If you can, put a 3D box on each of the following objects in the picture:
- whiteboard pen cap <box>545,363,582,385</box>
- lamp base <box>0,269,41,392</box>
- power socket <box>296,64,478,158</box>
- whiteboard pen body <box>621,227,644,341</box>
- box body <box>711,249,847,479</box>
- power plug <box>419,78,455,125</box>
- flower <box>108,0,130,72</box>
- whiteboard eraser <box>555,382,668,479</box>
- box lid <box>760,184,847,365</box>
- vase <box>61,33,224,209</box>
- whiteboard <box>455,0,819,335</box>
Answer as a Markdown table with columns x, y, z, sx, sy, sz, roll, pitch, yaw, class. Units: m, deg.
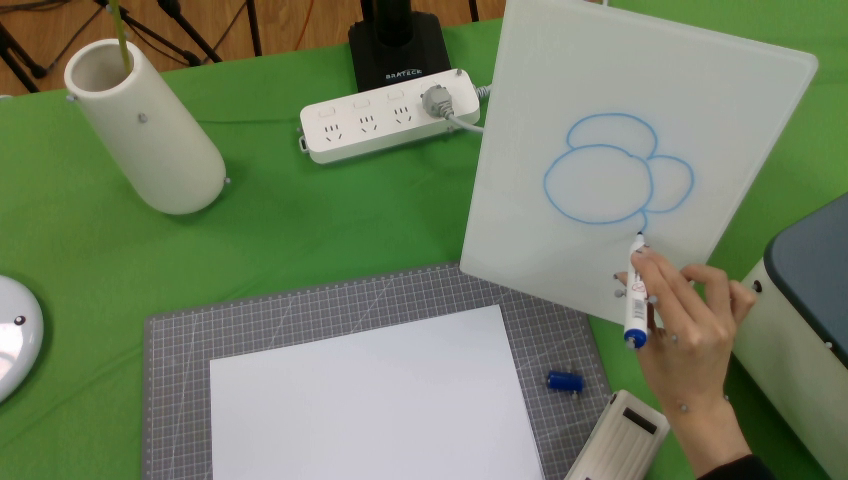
| x | y | z | sx | sy | sz | roll | pitch | yaw | class |
| --- | --- | --- | --- | --- | --- | --- | --- | --- | --- |
| 0.134 | 0.130 | 0.586 | 0.033 | 0.018 | 0.018 | 7 | 64 | 3 | whiteboard pen cap |
| -0.488 | 0.062 | 0.551 | 0.178 | 0.182 | 0.160 | 20 | 66 | 14 | lamp base |
| -0.043 | -0.154 | 0.722 | 0.227 | 0.033 | 0.071 | -15 | 66 | -6 | power socket |
| 0.167 | 0.028 | 0.481 | 0.017 | 0.017 | 0.140 | 15 | 39 | 10 | whiteboard pen body |
| 0.461 | 0.119 | 0.502 | 0.254 | 0.161 | 0.361 | -27 | 66 | -11 | box body |
| 0.014 | -0.152 | 0.694 | 0.035 | 0.053 | 0.072 | -6 | 70 | -1 | power plug |
| -0.263 | -0.145 | 0.542 | 0.038 | 0.362 | 0.044 | 38 | 61 | 0 | flower |
| 0.167 | 0.188 | 0.543 | 0.055 | 0.042 | 0.112 | 32 | 70 | 17 | whiteboard eraser |
| 0.457 | 0.084 | 0.436 | 0.263 | 0.015 | 0.368 | -27 | 67 | -10 | box lid |
| -0.280 | -0.113 | 0.618 | 0.098 | 0.201 | 0.097 | -1 | 64 | 3 | vase |
| 0.171 | -0.088 | 0.567 | 0.216 | 0.308 | 0.143 | 18 | 45 | 11 | whiteboard |
